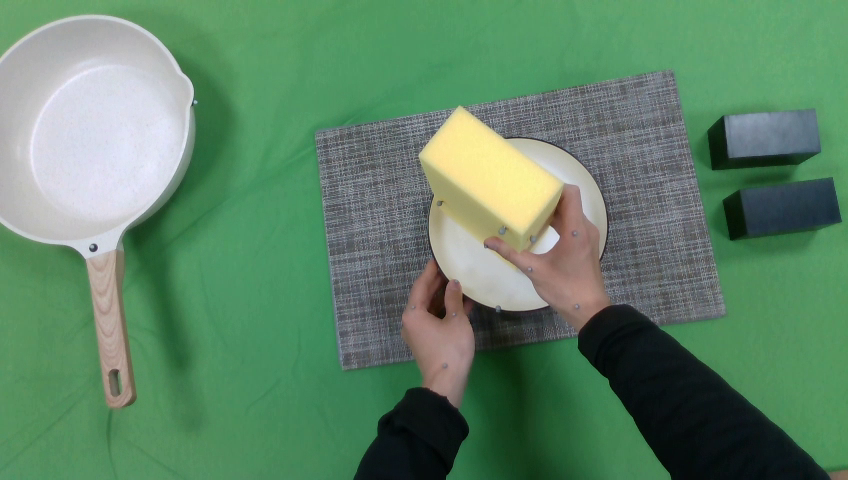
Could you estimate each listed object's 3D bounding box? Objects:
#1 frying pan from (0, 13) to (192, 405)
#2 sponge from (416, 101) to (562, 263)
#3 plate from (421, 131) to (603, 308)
[{"bbox_3d":[-0.398,-0.041,0.734,0.307,0.103,0.484,-17,73,4],"label":"frying pan"},{"bbox_3d":[0.067,-0.048,0.624,0.118,0.208,0.061,37,85,12],"label":"sponge"},{"bbox_3d":[0.102,-0.023,0.712,0.207,0.039,0.207,-1,82,5],"label":"plate"}]
